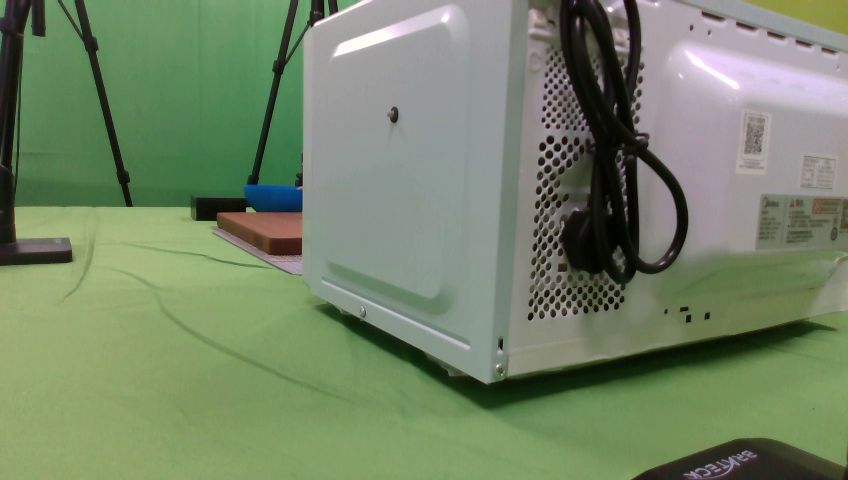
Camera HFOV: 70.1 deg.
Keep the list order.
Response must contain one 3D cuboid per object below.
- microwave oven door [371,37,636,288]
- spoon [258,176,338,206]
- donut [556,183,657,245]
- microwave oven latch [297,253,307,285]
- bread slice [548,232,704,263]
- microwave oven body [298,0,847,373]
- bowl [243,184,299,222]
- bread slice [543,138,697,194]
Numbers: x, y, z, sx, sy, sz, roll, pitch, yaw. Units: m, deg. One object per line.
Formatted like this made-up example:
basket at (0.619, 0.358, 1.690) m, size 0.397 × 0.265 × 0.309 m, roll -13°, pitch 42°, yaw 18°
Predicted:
microwave oven door at (0.110, -0.080, 0.686) m, size 0.358 × 0.243 × 0.039 m, roll -2°, pitch 9°, yaw -33°
spoon at (-0.279, -0.112, 1.356) m, size 0.194 × 0.021 × 0.041 m, roll -28°, pitch 18°, yaw -27°
donut at (0.183, -0.027, 0.610) m, size 0.099 × 0.048 × 0.099 m, roll 12°, pitch -11°, yaw 3°
microwave oven latch at (-0.082, 0.027, 0.582) m, size 0.079 × 0.029 × 0.030 m, roll -1°, pitch 7°, yaw -32°
bread slice at (0.202, 0.008, 0.587) m, size 0.105 × 0.019 × 0.131 m, roll 7°, pitch -6°, yaw -24°
microwave oven body at (0.151, -0.055, 0.543) m, size 0.444 × 0.260 × 0.324 m, roll -1°, pitch 7°, yaw -33°
bowl at (-0.321, -0.081, 1.334) m, size 0.151 × 0.077 × 0.151 m, roll 3°, pitch 7°, yaw 0°
bread slice at (0.201, -0.074, 0.605) m, size 0.133 × 0.018 × 0.107 m, roll 27°, pitch 19°, yaw 40°
